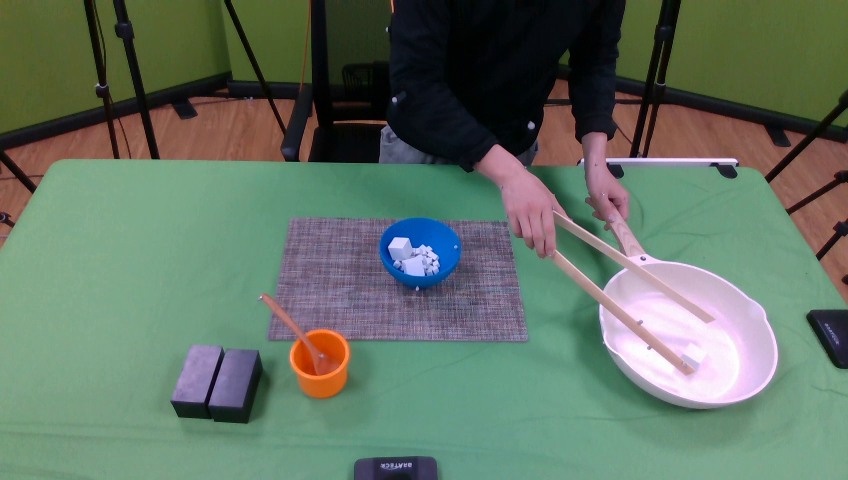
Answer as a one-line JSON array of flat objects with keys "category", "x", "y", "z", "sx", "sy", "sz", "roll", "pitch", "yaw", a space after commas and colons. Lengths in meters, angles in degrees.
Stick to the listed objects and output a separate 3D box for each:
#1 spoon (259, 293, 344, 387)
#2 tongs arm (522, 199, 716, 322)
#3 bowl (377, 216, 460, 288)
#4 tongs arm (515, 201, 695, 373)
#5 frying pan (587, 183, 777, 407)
[{"category": "spoon", "x": -0.191, "y": 0.155, "z": 0.947, "sx": 0.021, "sy": 0.194, "sz": 0.041, "roll": -13, "pitch": 27, "yaw": 50}, {"category": "tongs arm", "x": 0.337, "y": 0.035, "z": 1.050, "sx": 0.387, "sy": 0.028, "sz": 0.028, "roll": 33, "pitch": 63, "yaw": 0}, {"category": "bowl", "x": -0.012, "y": 0.035, "z": 1.118, "sx": 0.151, "sy": 0.077, "sz": 0.150, "roll": 2, "pitch": 46, "yaw": -2}, {"category": "tongs arm", "x": 0.300, "y": 0.077, "z": 1.015, "sx": 0.384, "sy": 0.026, "sz": 0.050, "roll": 40, "pitch": 59, "yaw": 5}, {"category": "frying pan", "x": 0.412, "y": 0.079, "z": 1.097, "sx": 0.307, "sy": 0.103, "sz": 0.484, "roll": -9, "pitch": 56, "yaw": -14}]
